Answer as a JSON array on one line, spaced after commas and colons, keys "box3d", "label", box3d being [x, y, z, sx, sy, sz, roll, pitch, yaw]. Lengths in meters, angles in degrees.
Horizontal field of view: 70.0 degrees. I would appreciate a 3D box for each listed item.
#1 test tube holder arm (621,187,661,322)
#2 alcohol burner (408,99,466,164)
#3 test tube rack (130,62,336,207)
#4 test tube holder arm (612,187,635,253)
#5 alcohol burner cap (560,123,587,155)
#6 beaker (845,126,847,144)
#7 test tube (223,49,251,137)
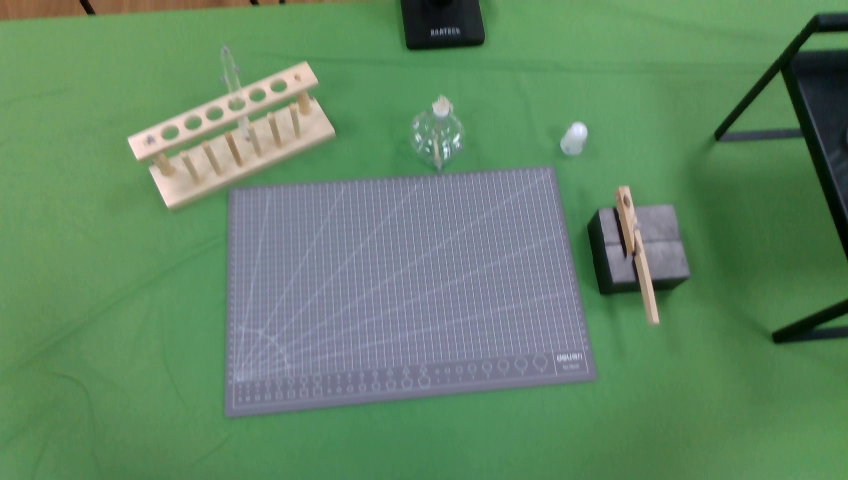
[{"box3d": [0.269, 0.016, 0.759, 0.013, 0.015, 0.177, -7, 71, -8], "label": "test tube holder arm"}, {"box3d": [0.019, -0.152, 0.809, 0.078, 0.120, 0.077, 2, 69, -5], "label": "alcohol burner"}, {"box3d": [-0.244, -0.139, 0.802, 0.242, 0.086, 0.066, -27, 72, -13], "label": "test tube rack"}, {"box3d": [0.256, -0.026, 0.773, 0.010, 0.015, 0.087, -6, 71, -7], "label": "test tube holder arm"}, {"box3d": [0.214, -0.145, 0.856, 0.034, 0.048, 0.033, 1, 68, -1], "label": "alcohol burner cap"}, {"box3d": [0.510, -0.128, 0.643, 0.084, 0.101, 0.073, -17, 70, -9], "label": "beaker"}, {"box3d": [-0.234, -0.181, 0.766, 0.017, 0.151, 0.017, 3, 61, -5], "label": "test tube"}]
